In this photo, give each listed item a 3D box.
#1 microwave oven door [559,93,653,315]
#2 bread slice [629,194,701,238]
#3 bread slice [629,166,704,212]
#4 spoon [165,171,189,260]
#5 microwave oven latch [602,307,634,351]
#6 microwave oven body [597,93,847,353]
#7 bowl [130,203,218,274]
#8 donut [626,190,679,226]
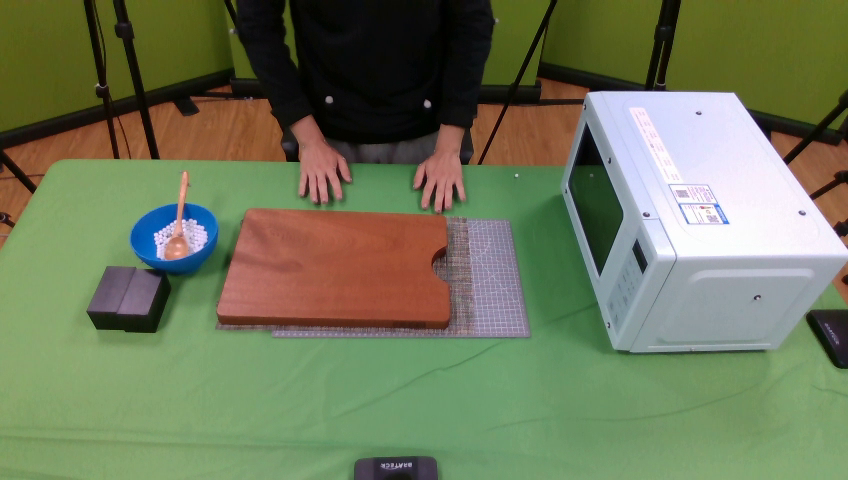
[{"bbox_3d":[0.327,-0.074,1.123,0.039,0.245,0.353,-1,46,-5],"label":"microwave oven door"},{"bbox_3d":[0.475,-0.048,1.193,0.131,0.019,0.104,11,43,11],"label":"bread slice"},{"bbox_3d":[0.457,-0.094,1.140,0.134,0.018,0.106,6,43,-17],"label":"bread slice"},{"bbox_3d":[-0.452,-0.046,1.129,0.041,0.022,0.193,-1,69,-2],"label":"spoon"},{"bbox_3d":[0.332,0.153,1.044,0.030,0.029,0.078,-1,45,-4],"label":"microwave oven latch"},{"bbox_3d":[0.475,-0.041,1.110,0.326,0.261,0.438,-1,45,-4],"label":"microwave oven body"},{"bbox_3d":[-0.450,0.010,1.116,0.151,0.077,0.150,3,45,-3],"label":"bowl"},{"bbox_3d":[0.441,-0.062,1.172,0.099,0.048,0.098,-6,30,4],"label":"donut"}]
